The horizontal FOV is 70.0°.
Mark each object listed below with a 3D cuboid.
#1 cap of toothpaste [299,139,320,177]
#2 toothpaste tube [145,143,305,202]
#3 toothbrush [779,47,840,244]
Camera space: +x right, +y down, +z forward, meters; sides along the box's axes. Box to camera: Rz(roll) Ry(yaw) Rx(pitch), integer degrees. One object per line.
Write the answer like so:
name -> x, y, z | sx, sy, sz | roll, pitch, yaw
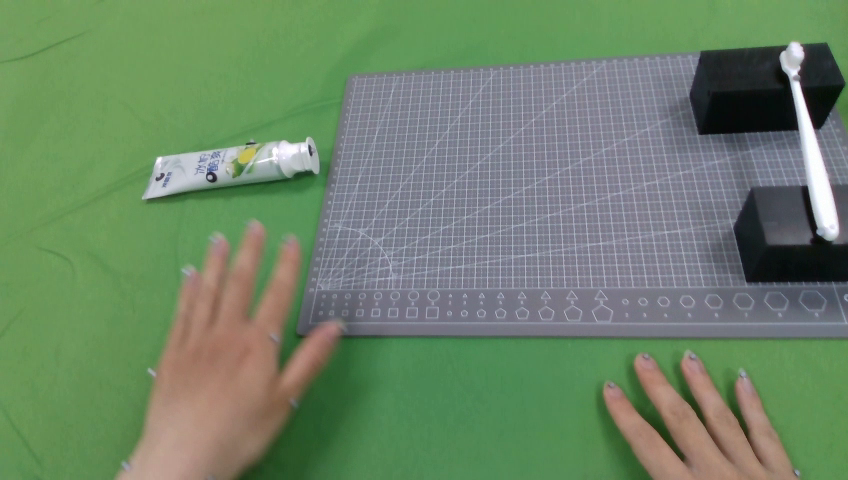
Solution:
cap of toothpaste -> -0.106, -0.075, 0.558 | 0.011, 0.038, 0.037 | -9, 55, 5
toothpaste tube -> -0.184, -0.068, 0.574 | 0.165, 0.035, 0.054 | -6, 49, 10
toothbrush -> 0.282, -0.076, 0.442 | 0.014, 0.017, 0.180 | 10, 59, 1
